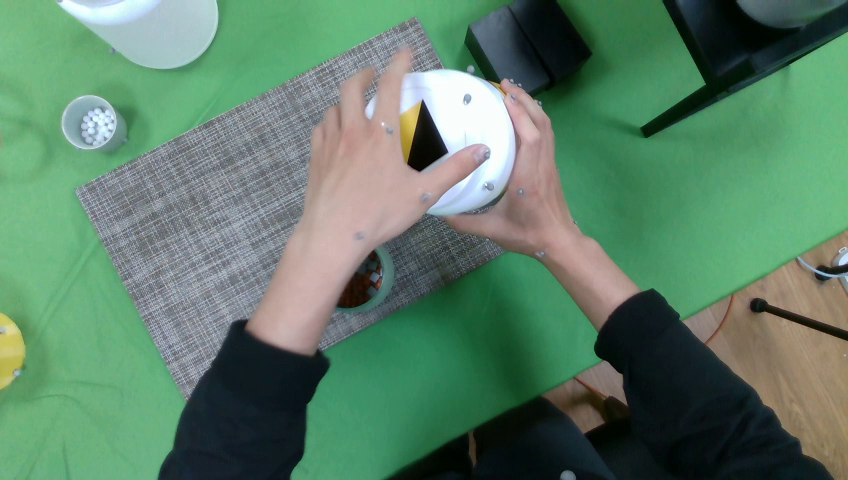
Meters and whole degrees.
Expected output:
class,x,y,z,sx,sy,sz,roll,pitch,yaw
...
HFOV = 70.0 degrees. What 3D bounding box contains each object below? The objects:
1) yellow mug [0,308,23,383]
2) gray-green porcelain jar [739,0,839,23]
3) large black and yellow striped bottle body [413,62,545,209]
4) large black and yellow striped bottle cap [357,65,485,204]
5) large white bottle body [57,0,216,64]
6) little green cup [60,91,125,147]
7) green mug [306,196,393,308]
class,x,y,z,sx,sy,sz,roll,pitch,yaw
yellow mug,-0.513,0.136,0.665,0.100,0.064,0.130,5,89,-3
gray-green porcelain jar,0.329,-0.250,0.505,0.106,0.126,0.105,0,87,-2
large black and yellow striped bottle body,0.032,-0.098,0.584,0.130,0.184,0.131,4,99,26
large black and yellow striped bottle cap,-0.005,-0.087,0.509,0.114,0.019,0.115,4,99,26
large white bottle body,-0.307,-0.273,0.627,0.131,0.184,0.130,0,88,-2
little green cup,-0.376,-0.136,0.693,0.061,0.038,0.061,0,89,-3
green mug,-0.085,0.014,0.664,0.092,0.105,0.125,-11,88,-2
